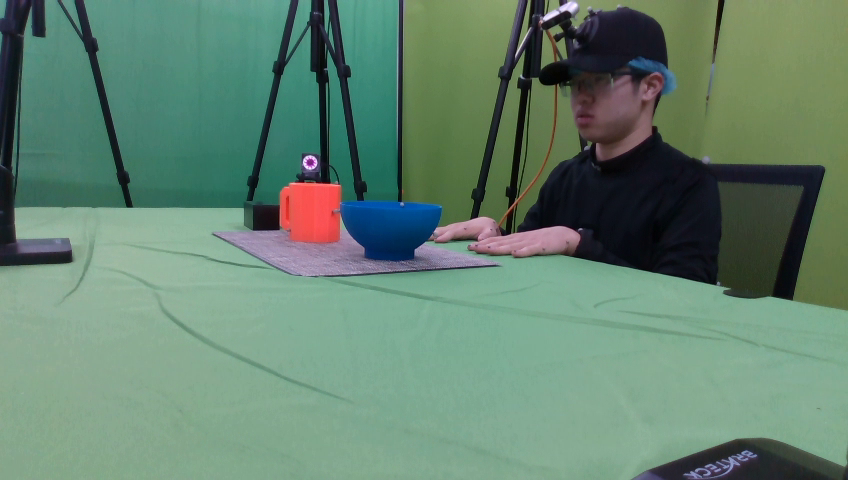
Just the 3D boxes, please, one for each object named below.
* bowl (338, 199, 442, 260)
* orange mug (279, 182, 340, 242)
[{"bbox_3d":[-0.050,-0.015,0.878,0.151,0.077,0.151,2,8,0],"label":"bowl"},{"bbox_3d":[-0.202,-0.052,1.042,0.125,0.100,0.084,12,11,34],"label":"orange mug"}]
